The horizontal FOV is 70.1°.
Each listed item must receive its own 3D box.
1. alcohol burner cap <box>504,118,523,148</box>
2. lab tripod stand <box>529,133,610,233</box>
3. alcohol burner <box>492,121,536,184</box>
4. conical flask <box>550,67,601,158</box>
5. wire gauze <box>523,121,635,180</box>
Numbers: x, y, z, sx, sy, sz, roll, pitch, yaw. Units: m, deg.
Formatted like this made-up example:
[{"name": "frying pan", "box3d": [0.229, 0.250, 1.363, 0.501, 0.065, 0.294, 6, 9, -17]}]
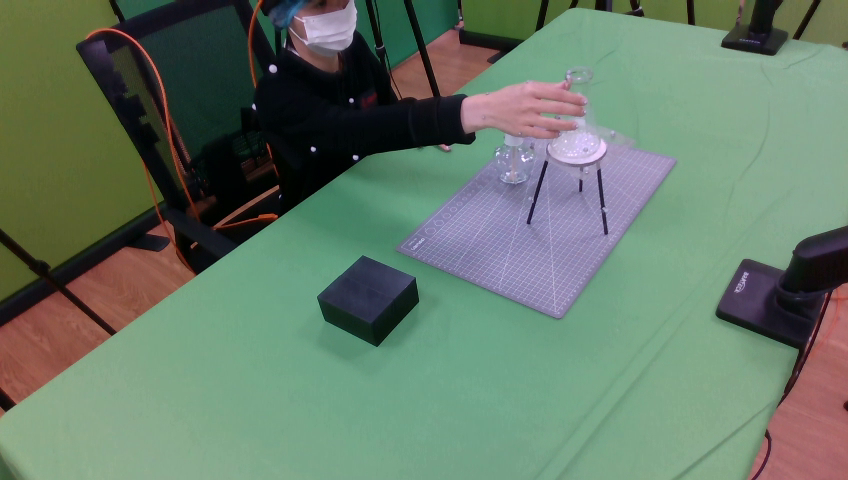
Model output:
[{"name": "alcohol burner cap", "box3d": [0.154, -0.186, 1.042, 0.034, 0.048, 0.033, -4, 33, 3]}, {"name": "lab tripod stand", "box3d": [0.236, -0.089, 0.953, 0.148, 0.132, 0.147, -5, 42, 5]}, {"name": "alcohol burner", "box3d": [0.159, -0.158, 1.064, 0.078, 0.119, 0.077, -3, 41, 3]}, {"name": "conical flask", "box3d": [0.221, -0.186, 0.875, 0.075, 0.122, 0.075, -5, 40, 5]}, {"name": "wire gauze", "box3d": [0.233, -0.142, 0.913, 0.122, 0.011, 0.124, -31, 43, -26]}]
